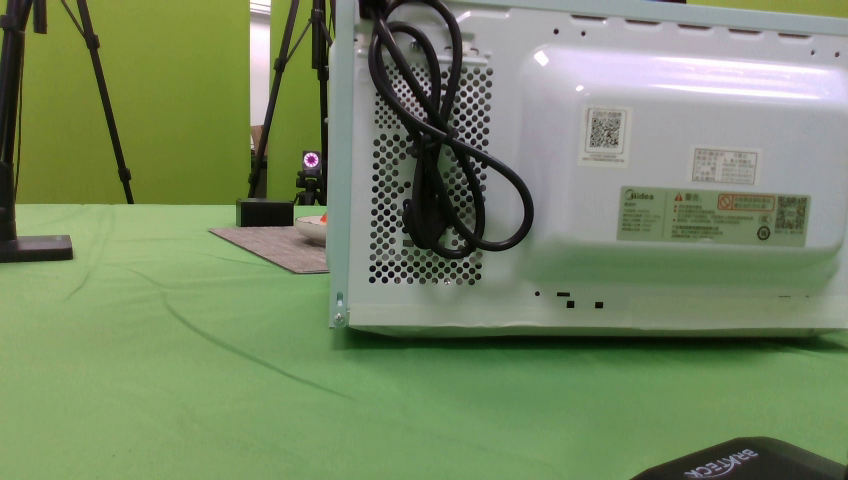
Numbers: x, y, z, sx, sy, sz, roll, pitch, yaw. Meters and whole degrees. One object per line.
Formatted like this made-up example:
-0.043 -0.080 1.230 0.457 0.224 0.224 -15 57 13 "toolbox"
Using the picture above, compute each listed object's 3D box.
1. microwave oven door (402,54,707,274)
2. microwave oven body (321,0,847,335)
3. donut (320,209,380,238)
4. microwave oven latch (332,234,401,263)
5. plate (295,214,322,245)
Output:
0.157 -0.085 0.717 0.357 0.243 0.039 1 8 -8 "microwave oven door"
0.133 -0.062 0.568 0.443 0.260 0.325 2 7 -8 "microwave oven body"
-0.121 -0.027 0.996 0.099 0.048 0.099 2 4 0 "donut"
-0.066 0.010 0.701 0.079 0.029 0.030 2 7 -8 "microwave oven latch"
-0.107 -0.016 0.997 0.209 0.038 0.209 2 7 0 "plate"
